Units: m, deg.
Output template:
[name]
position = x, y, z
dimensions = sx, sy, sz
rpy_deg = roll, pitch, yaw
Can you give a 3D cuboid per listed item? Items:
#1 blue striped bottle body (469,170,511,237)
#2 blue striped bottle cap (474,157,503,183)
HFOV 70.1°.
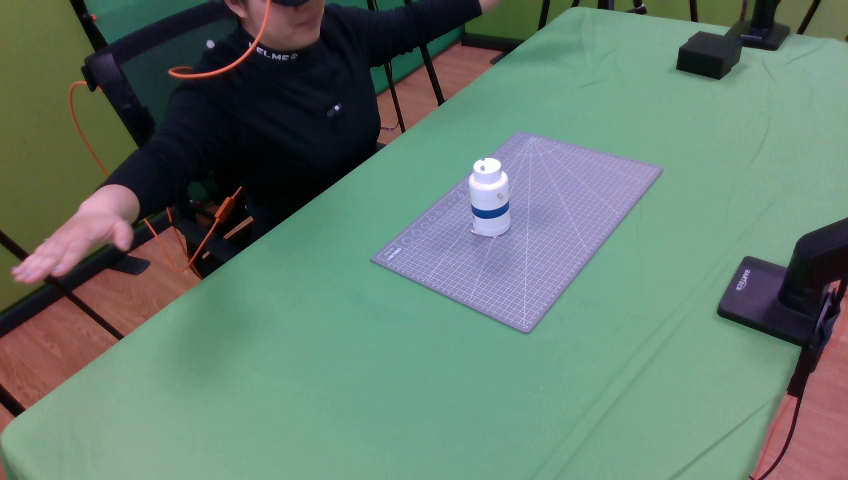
[blue striped bottle body]
position = 0.105, -0.069, 0.963
dimensions = 0.063, 0.121, 0.063
rpy_deg = -6, 40, 5
[blue striped bottle cap]
position = 0.099, -0.108, 0.931
dimensions = 0.044, 0.021, 0.044
rpy_deg = -6, 41, 6
